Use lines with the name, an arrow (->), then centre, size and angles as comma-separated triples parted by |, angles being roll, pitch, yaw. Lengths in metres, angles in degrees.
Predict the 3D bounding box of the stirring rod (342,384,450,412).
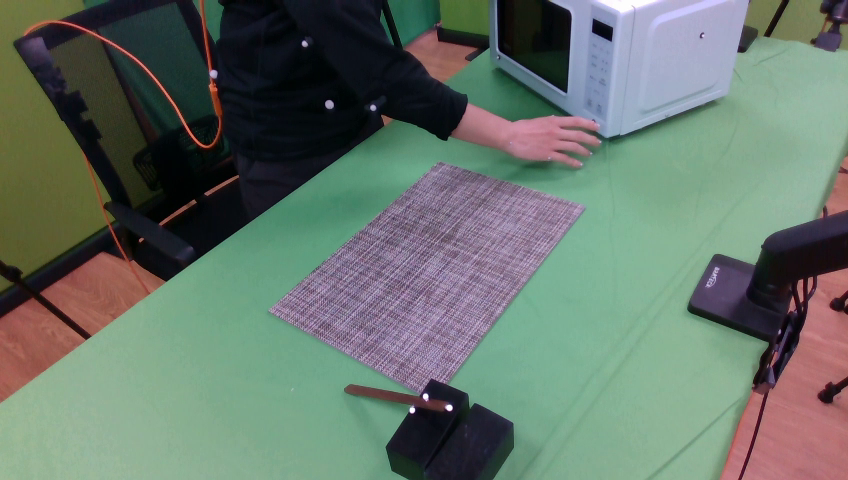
stirring rod -> -0.038, 0.186, 0.714 | 0.175, 0.006, 0.014 | -3, 22, 43

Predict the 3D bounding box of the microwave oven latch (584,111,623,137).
microwave oven latch -> 0.337, -0.222, 1.142 | 0.030, 0.029, 0.078 | -21, 42, -14

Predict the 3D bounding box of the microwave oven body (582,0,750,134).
microwave oven body -> 0.382, -0.444, 1.246 | 0.327, 0.261, 0.437 | -22, 42, -16

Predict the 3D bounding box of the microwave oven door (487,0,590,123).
microwave oven door -> 0.232, -0.420, 1.231 | 0.039, 0.245, 0.352 | -21, 42, -16
